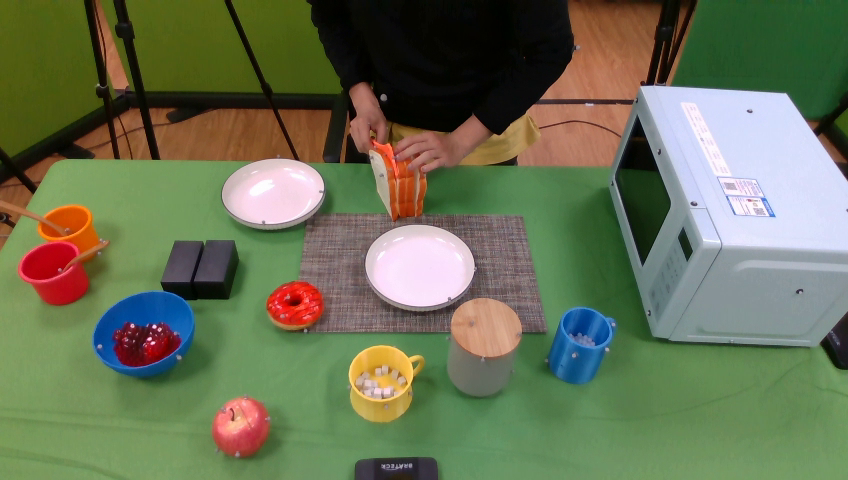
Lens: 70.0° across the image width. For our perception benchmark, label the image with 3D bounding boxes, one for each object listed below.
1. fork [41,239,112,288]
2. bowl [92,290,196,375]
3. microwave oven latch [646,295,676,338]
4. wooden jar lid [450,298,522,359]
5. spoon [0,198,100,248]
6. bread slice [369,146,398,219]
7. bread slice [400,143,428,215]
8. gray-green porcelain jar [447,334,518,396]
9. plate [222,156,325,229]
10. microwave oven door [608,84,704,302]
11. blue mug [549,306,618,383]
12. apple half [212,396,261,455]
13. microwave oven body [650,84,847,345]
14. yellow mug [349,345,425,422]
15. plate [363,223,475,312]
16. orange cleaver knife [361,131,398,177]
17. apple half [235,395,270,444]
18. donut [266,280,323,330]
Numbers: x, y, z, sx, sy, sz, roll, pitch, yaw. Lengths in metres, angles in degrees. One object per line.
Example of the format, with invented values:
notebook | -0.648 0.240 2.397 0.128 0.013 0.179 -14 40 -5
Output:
fork | -0.591 0.040 1.028 0.207 0.019 0.028 -27 36 29
bowl | -0.436 0.161 0.971 0.151 0.077 0.150 2 46 -2
microwave oven latch | 0.413 0.133 1.060 0.030 0.029 0.078 4 46 1
wooden jar lid | 0.093 0.135 0.914 0.108 0.021 0.107 2 48 -3
spoon | -0.684 -0.035 1.092 0.021 0.195 0.041 -34 41 26
bread slice | -0.084 -0.124 1.232 0.018 0.135 0.106 -21 41 -21
bread slice | -0.021 -0.130 1.241 0.019 0.132 0.104 -14 49 -20
gray-green porcelain jar | 0.091 0.178 0.960 0.106 0.127 0.105 2 46 -2
plate | -0.308 -0.095 1.251 0.209 0.038 0.208 2 46 -2
microwave oven door | 0.424 -0.096 1.138 0.039 0.245 0.353 3 46 -1
blue mug | 0.269 0.167 0.997 0.116 0.106 0.082 -19 51 -21
apple half | -0.276 0.276 0.877 0.053 0.075 0.080 -29 58 -21
microwave oven body | 0.569 -0.054 1.116 0.326 0.261 0.439 2 46 -1
yellow mug | -0.054 0.217 0.954 0.131 0.064 0.099 -23 52 -25
plate | -0.009 0.054 1.126 0.208 0.039 0.206 2 46 -2
orange cleaver knife | -0.093 -0.181 1.257 0.012 0.077 0.210 -16 25 -17
apple half | -0.245 0.260 0.893 0.033 0.082 0.081 -29 55 -22
donut | -0.223 0.112 1.051 0.099 0.048 0.098 2 46 -2
